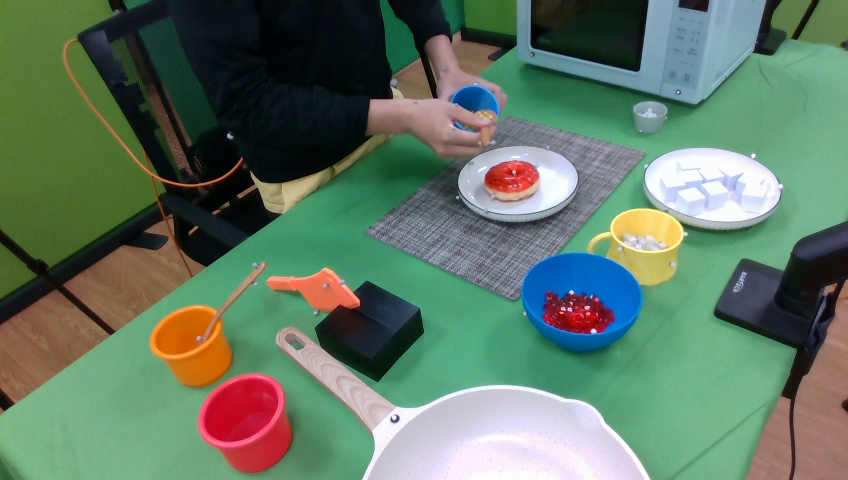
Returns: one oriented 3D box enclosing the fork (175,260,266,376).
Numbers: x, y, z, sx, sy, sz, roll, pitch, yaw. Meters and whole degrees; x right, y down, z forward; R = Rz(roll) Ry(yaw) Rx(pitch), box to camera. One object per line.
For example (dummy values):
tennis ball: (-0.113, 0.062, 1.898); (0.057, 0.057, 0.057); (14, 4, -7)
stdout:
fork: (-0.268, 0.103, 0.792); (0.207, 0.019, 0.028); (-51, 41, 16)

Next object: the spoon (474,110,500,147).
spoon: (0.093, -0.168, 0.901); (0.041, 0.022, 0.193); (1, 21, 6)

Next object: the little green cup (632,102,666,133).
little green cup: (0.434, -0.237, 1.171); (0.061, 0.039, 0.061); (-5, 40, 5)

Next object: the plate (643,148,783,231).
plate: (0.464, -0.080, 0.985); (0.207, 0.039, 0.206); (-4, 41, 4)

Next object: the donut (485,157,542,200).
donut: (0.153, -0.108, 1.039); (0.099, 0.048, 0.098); (-6, 38, 5)

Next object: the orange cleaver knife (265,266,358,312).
orange cleaver knife: (-0.164, 0.073, 0.864); (0.210, 0.077, 0.012); (-6, 30, 50)

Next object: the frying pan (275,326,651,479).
frying pan: (0.004, 0.229, 0.641); (0.484, 0.103, 0.308); (34, 54, 28)

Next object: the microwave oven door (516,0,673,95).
microwave oven door: (0.344, -0.458, 1.256); (0.353, 0.245, 0.039); (26, 51, 33)

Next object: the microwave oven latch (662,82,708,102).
microwave oven latch: (0.518, -0.299, 1.203); (0.078, 0.029, 0.030); (29, 53, 36)

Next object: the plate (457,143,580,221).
plate: (0.162, -0.097, 1.042); (0.209, 0.038, 0.208); (-4, 40, 4)

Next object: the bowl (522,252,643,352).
bowl: (0.204, 0.093, 0.791); (0.151, 0.077, 0.150); (-4, 40, 4)

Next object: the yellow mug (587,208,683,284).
yellow mug: (0.305, 0.009, 0.884); (0.131, 0.064, 0.099); (-4, 41, 5)

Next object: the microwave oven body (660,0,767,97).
microwave oven body: (0.474, -0.517, 1.313); (0.438, 0.261, 0.327); (26, 51, 34)

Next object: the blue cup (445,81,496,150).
blue cup: (0.086, -0.206, 1.041); (0.092, 0.101, 0.092); (-5, 63, 11)
